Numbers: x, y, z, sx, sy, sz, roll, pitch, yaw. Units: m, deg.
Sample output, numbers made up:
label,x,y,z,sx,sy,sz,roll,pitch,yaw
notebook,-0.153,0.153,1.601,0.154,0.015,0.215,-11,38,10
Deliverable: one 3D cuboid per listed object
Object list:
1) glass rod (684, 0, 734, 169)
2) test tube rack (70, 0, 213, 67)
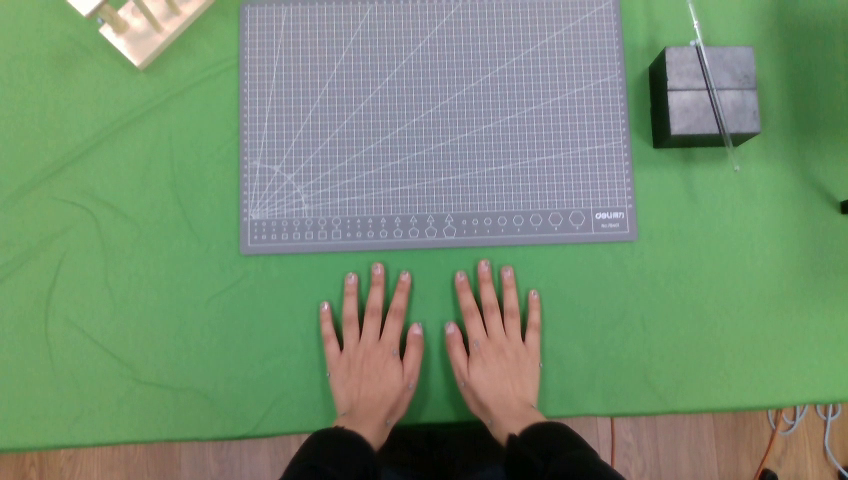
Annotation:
label,x,y,z,sx,sy,sz,roll,pitch,yaw
glass rod,0.313,-0.173,0.665,0.008,0.008,0.199,-11,84,-2
test tube rack,-0.270,-0.316,0.679,0.066,0.085,0.242,43,84,5
